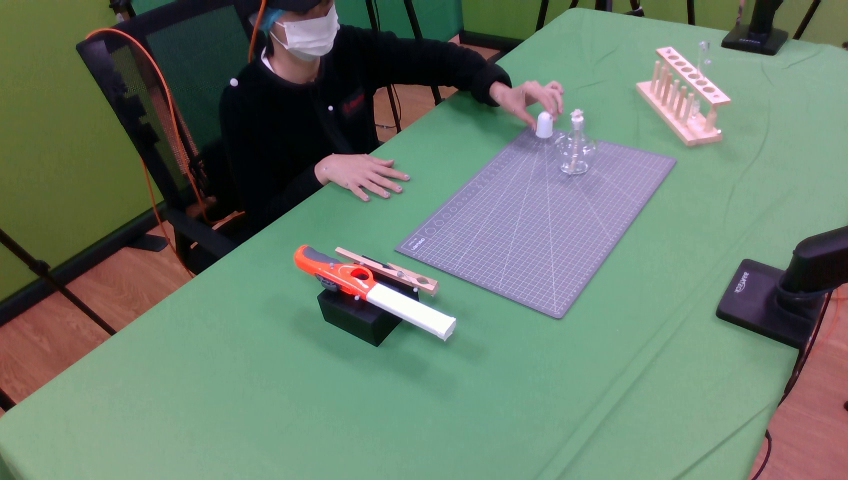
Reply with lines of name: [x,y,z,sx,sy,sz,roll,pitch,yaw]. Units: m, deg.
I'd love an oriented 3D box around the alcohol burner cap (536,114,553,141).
alcohol burner cap: [0.229,-0.216,1.139,0.034,0.048,0.033,-2,43,3]

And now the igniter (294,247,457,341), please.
igniter: [-0.077,0.068,0.831,0.274,0.025,0.057,22,48,27]

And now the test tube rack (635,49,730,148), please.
test tube rack: [0.497,-0.283,1.185,0.067,0.085,0.240,-10,40,-2]

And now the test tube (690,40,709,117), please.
test tube: [0.510,-0.295,1.120,0.017,0.151,0.017,-6,39,6]

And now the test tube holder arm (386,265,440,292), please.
test tube holder arm: [-0.018,0.055,0.843,0.087,0.015,0.010,18,46,26]

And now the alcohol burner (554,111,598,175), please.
alcohol burner: [0.270,-0.175,1.066,0.078,0.119,0.077,-4,42,4]

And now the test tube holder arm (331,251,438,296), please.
test tube holder arm: [-0.060,0.046,0.859,0.177,0.015,0.013,16,45,24]
